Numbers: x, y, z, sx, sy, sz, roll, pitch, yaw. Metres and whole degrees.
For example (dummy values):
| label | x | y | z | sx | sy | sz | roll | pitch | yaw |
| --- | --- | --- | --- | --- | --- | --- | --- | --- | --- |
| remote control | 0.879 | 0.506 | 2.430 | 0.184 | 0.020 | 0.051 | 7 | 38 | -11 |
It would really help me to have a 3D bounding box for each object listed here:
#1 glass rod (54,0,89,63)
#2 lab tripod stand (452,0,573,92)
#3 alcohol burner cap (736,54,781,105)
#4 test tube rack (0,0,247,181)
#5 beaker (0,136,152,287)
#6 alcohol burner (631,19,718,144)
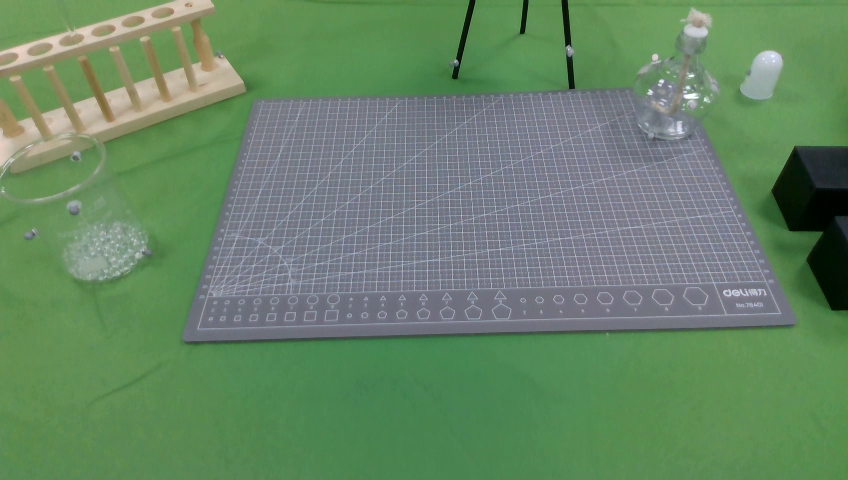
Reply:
| label | x | y | z | sx | sy | sz | roll | pitch | yaw |
| --- | --- | --- | --- | --- | --- | --- | --- | --- | --- |
| glass rod | -0.325 | -0.196 | 0.552 | 0.008 | 0.201 | 0.008 | 2 | 50 | -2 |
| lab tripod stand | 0.101 | -0.233 | 0.627 | 0.148 | 0.132 | 0.147 | 0 | 48 | 0 |
| alcohol burner cap | 0.344 | -0.166 | 0.618 | 0.034 | 0.048 | 0.033 | -1 | 47 | 1 |
| test tube rack | -0.312 | -0.153 | 0.602 | 0.242 | 0.086 | 0.066 | -26 | 52 | -20 |
| beaker | -0.265 | -0.017 | 0.469 | 0.084 | 0.101 | 0.073 | -23 | 51 | -16 |
| alcohol burner | 0.233 | -0.148 | 0.554 | 0.078 | 0.120 | 0.077 | 0 | 50 | 1 |
